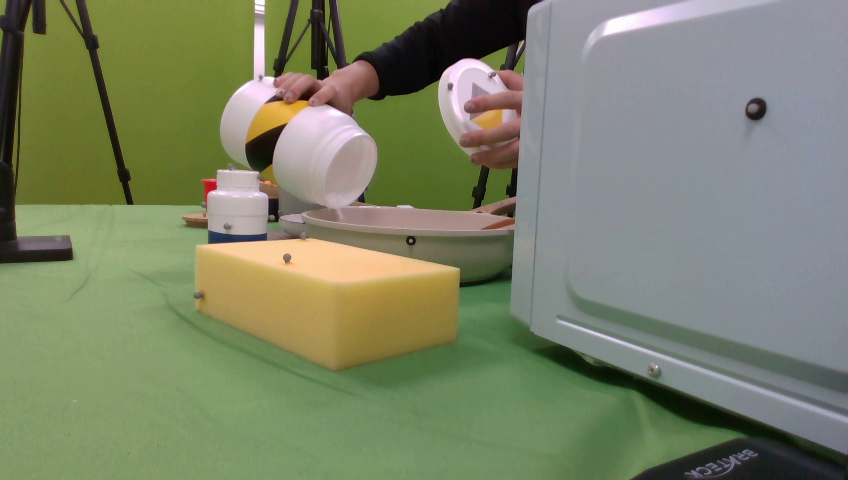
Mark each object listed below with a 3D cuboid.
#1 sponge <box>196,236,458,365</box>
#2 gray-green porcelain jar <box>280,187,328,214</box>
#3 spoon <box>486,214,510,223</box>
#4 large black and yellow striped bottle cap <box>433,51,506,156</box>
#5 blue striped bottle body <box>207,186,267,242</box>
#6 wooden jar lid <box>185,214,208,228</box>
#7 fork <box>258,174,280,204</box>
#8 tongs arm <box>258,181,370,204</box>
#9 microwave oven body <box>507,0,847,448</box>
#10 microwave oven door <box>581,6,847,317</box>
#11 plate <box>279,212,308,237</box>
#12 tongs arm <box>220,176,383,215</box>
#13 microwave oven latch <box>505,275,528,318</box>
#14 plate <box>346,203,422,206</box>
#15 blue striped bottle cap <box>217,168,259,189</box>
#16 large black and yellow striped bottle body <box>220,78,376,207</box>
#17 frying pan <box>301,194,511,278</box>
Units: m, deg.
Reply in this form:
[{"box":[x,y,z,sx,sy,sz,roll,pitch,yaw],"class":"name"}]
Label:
[{"box":[-0.087,0.039,0.500,0.206,0.061,0.119,8,9,44],"class":"sponge"},{"box":[-0.238,-0.092,1.221,0.106,0.126,0.106,2,7,0],"class":"gray-green porcelain jar"},{"box":[0.077,-0.012,0.794,0.193,0.021,0.042,-25,-7,12],"class":"spoon"},{"box":[0.053,-0.151,0.673,0.018,0.115,0.115,2,6,42],"class":"large black and yellow striped bottle cap"},{"box":[-0.204,-0.016,0.663,0.063,0.120,0.063,2,7,0],"class":"blue striped bottle body"},{"box":[-0.404,-0.037,1.169,0.108,0.020,0.108,3,7,0],"class":"wooden jar lid"},{"box":[-0.396,-0.143,1.486,0.028,0.018,0.208,20,-26,45],"class":"fork"},{"box":[-0.241,-0.095,1.373,0.387,0.026,0.050,9,0,-37],"class":"tongs arm"},{"box":[0.331,-0.042,0.425,0.444,0.260,0.324,-2,8,-31],"class":"microwave oven body"},{"box":[0.295,-0.067,0.570,0.358,0.243,0.039,-3,8,-31],"class":"microwave oven door"},{"box":[-0.139,-0.022,1.021,0.209,0.038,0.209,2,8,0],"class":"plate"},{"box":[-0.285,-0.104,1.445,0.389,0.027,0.028,9,-4,-23],"class":"tongs arm"},{"box":[0.100,0.042,0.472,0.079,0.029,0.030,-2,8,-31],"class":"microwave oven latch"},{"box":[-0.089,-0.054,1.309,0.208,0.039,0.207,2,8,0],"class":"plate"},{"box":[-0.202,-0.067,0.656,0.044,0.020,0.044,0,11,0],"class":"blue striped bottle cap"},{"box":[-0.169,-0.131,0.827,0.183,0.130,0.131,29,19,23],"class":"large black and yellow striped bottle body"},{"box":[0.051,-0.029,0.864,0.305,0.102,0.490,8,18,35],"class":"frying pan"}]
